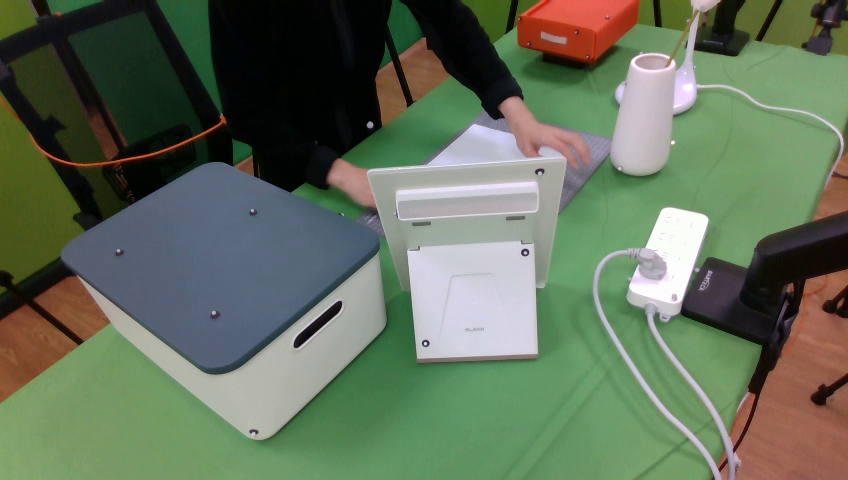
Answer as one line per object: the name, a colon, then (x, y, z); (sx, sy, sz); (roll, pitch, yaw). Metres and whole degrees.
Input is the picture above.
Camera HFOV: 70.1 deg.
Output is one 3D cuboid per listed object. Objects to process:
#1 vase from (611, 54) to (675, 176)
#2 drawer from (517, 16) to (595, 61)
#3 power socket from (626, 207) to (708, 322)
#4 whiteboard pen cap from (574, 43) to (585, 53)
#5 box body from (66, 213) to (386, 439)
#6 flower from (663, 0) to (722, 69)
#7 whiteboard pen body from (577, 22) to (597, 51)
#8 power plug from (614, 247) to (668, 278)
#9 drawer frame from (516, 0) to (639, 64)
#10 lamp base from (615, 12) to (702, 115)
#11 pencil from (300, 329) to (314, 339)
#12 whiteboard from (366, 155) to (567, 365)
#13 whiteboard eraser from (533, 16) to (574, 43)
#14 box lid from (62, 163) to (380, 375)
vase: (0.377, -0.209, 1.031); (0.098, 0.201, 0.097); (-3, 40, 3)
drawer: (0.353, -0.505, 1.404); (0.193, 0.073, 0.212); (25, 49, 33)
power socket: (0.359, 0.025, 0.886); (0.072, 0.033, 0.227); (16, 46, 26)
whiteboard pen cap: (0.347, -0.429, 1.350); (0.018, 0.018, 0.033); (16, 39, 25)
box body: (-0.257, 0.068, 0.824); (0.361, 0.161, 0.255); (24, 49, 31)
flower: (0.379, -0.261, 0.965); (0.044, 0.362, 0.038); (21, 53, 5)
whiteboard pen body: (0.373, -0.467, 1.390); (0.017, 0.017, 0.141); (14, 46, 23)
power plug: (0.306, 0.031, 0.851); (0.072, 0.053, 0.035); (24, 49, 33)
drawer frame: (0.356, -0.507, 1.410); (0.200, 0.083, 0.214); (25, 51, 32)
lamp base: (0.484, -0.363, 1.211); (0.180, 0.181, 0.159); (-15, 41, -14)
pencil: (-0.203, 0.117, 0.877); (0.192, 0.012, 0.012); (20, 46, 39)
whiteboard: (0.059, 0.049, 0.738); (0.217, 0.307, 0.143); (-3, 60, 5)
whiteboard eraser: (0.305, -0.493, 1.422); (0.055, 0.042, 0.113); (27, 43, 25)
box lid: (-0.263, 0.012, 0.774); (0.368, 0.015, 0.264); (23, 49, 32)
